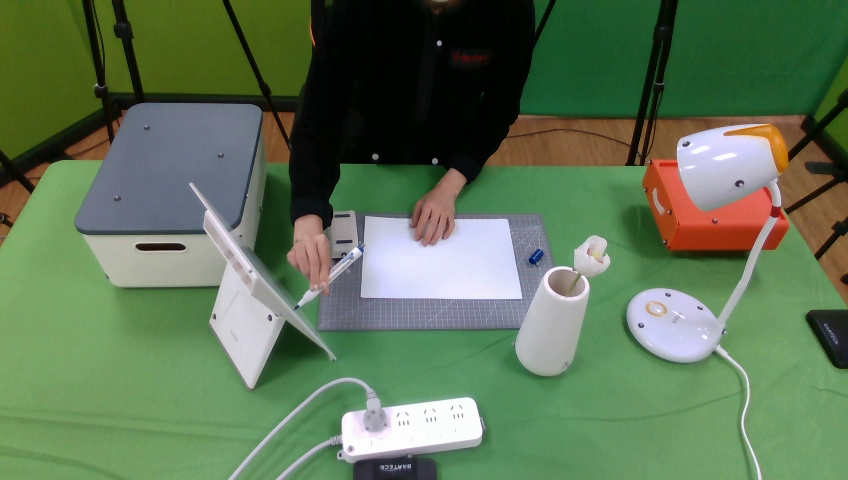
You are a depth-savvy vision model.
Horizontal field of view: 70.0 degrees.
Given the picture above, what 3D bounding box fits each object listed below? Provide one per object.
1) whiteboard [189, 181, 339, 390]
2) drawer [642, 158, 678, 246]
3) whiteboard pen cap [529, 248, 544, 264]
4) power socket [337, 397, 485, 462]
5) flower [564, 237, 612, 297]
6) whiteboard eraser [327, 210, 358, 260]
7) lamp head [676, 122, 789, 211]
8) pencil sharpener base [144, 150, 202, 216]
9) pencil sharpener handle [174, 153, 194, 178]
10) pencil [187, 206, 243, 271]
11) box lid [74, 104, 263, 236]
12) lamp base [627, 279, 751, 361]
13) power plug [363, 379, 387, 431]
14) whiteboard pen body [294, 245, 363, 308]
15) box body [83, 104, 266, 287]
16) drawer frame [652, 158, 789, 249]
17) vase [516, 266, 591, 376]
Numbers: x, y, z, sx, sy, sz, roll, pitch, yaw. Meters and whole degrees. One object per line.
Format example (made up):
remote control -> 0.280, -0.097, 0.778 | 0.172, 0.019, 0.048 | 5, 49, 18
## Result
whiteboard -> -0.292, 0.096, 0.929 | 0.144, 0.307, 0.216 | -37, 57, -10
drawer -> 0.566, -0.076, 1.211 | 0.212, 0.073, 0.193 | 2, 45, -2
whiteboard pen cap -> 0.219, 0.032, 1.183 | 0.018, 0.018, 0.033 | 31, 51, 23
power socket -> -0.018, 0.285, 0.915 | 0.227, 0.033, 0.071 | -5, 46, -8
flower -> 0.206, 0.088, 0.893 | 0.038, 0.363, 0.044 | -17, 67, -9
whiteboard eraser -> -0.159, -0.009, 1.177 | 0.055, 0.042, 0.112 | -6, 47, -7
lamp head -> 0.423, -0.104, 0.819 | 0.122, 0.113, 0.112 | -13, 33, 40
pencil sharpener base -> -0.493, -0.113, 1.199 | 0.061, 0.107, 0.076 | 15, 47, 11
pencil sharpener handle -> -0.479, -0.156, 1.225 | 0.036, 0.068, 0.030 | 24, 48, 2
pencil -> -0.401, -0.009, 1.176 | 0.012, 0.012, 0.193 | 15, 44, 10
box lid -> -0.443, -0.139, 1.095 | 0.263, 0.015, 0.369 | -1, 45, -5
lamp base -> 0.459, 0.100, 1.027 | 0.178, 0.181, 0.160 | 27, 51, 17
power plug -> -0.072, 0.252, 0.910 | 0.035, 0.053, 0.072 | 3, 45, -1
whiteboard pen body -> -0.149, 0.058, 0.939 | 0.140, 0.017, 0.017 | -43, 60, -14
box body -> -0.447, -0.088, 1.150 | 0.254, 0.161, 0.361 | -1, 46, -5
drawer frame -> 0.571, -0.075, 1.214 | 0.214, 0.083, 0.200 | 0, 45, -1
vase -> 0.208, 0.132, 0.964 | 0.098, 0.201, 0.097 | 3, 46, -3
